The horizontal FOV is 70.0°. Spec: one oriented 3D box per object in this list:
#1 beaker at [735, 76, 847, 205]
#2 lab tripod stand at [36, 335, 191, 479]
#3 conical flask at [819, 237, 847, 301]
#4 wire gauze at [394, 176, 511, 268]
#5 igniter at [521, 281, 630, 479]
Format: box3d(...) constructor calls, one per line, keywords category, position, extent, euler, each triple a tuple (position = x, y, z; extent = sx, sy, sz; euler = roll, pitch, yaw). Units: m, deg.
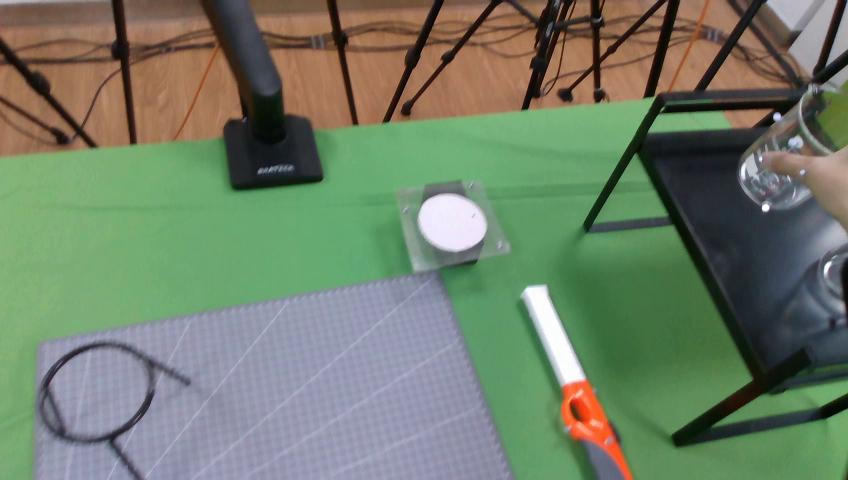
box3d(category="beaker", position=(0.332, -0.083, 0.537), extent=(0.074, 0.101, 0.083), euler=(-11, 68, -11))
box3d(category="lab tripod stand", position=(-0.274, 0.157, 0.549), extent=(0.149, 0.132, 0.147), euler=(6, 56, -8))
box3d(category="conical flask", position=(0.439, 0.005, 0.563), extent=(0.075, 0.123, 0.074), euler=(5, 56, -6))
box3d(category="wire gauze", position=(0.033, -0.028, 0.745), extent=(0.122, 0.011, 0.124), euler=(-8, 59, -14))
box3d(category="igniter", position=(0.171, 0.168, 0.685), extent=(0.057, 0.025, 0.273), euler=(-2, 56, -24))
